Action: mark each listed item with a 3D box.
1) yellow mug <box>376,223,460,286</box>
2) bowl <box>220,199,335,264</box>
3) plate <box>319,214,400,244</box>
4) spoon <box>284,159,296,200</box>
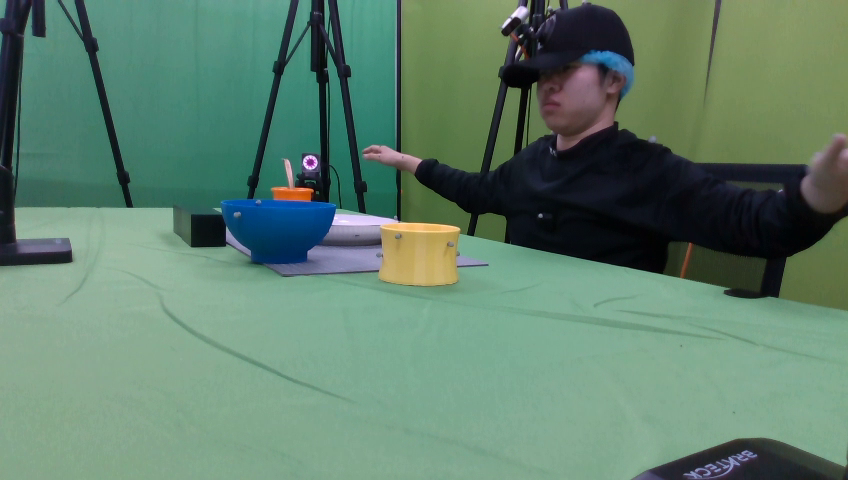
[{"bbox_3d":[-0.002,0.014,0.754,0.099,0.064,0.131,5,7,20],"label":"yellow mug"},{"bbox_3d":[-0.197,-0.012,0.819,0.151,0.077,0.151,3,8,0],"label":"bowl"},{"bbox_3d":[-0.147,-0.020,1.060,0.209,0.038,0.209,2,7,0],"label":"plate"},{"bbox_3d":[-0.302,-0.118,1.370,0.042,0.193,0.021,4,-39,-24],"label":"spoon"}]
